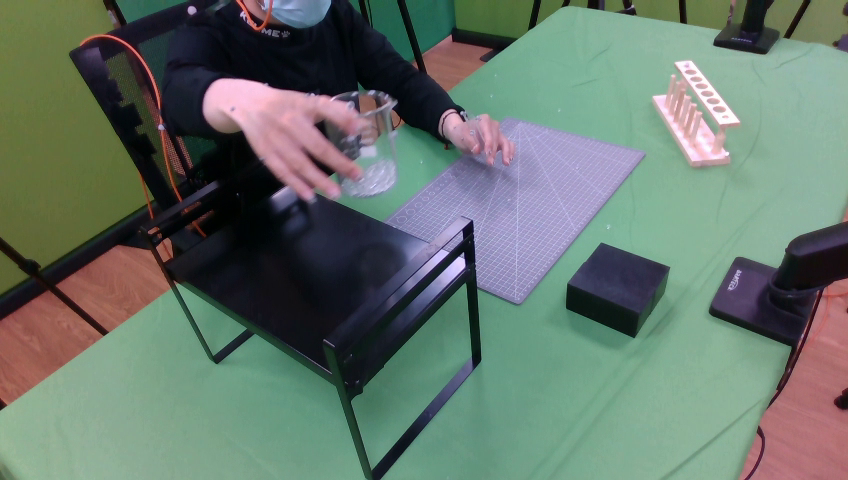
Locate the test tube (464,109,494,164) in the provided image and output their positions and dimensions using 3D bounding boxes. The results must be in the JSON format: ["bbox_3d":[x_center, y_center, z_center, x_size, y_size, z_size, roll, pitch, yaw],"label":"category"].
[{"bbox_3d":[0.093,-0.168,1.001,0.017,0.151,0.017,-8,64,17],"label":"test tube"}]

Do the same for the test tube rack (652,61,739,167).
[{"bbox_3d":[0.499,-0.242,1.130,0.067,0.085,0.241,-5,41,4],"label":"test tube rack"}]

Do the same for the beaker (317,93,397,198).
[{"bbox_3d":[-0.068,-0.104,0.673,0.084,0.100,0.073,-11,34,-7],"label":"beaker"}]
